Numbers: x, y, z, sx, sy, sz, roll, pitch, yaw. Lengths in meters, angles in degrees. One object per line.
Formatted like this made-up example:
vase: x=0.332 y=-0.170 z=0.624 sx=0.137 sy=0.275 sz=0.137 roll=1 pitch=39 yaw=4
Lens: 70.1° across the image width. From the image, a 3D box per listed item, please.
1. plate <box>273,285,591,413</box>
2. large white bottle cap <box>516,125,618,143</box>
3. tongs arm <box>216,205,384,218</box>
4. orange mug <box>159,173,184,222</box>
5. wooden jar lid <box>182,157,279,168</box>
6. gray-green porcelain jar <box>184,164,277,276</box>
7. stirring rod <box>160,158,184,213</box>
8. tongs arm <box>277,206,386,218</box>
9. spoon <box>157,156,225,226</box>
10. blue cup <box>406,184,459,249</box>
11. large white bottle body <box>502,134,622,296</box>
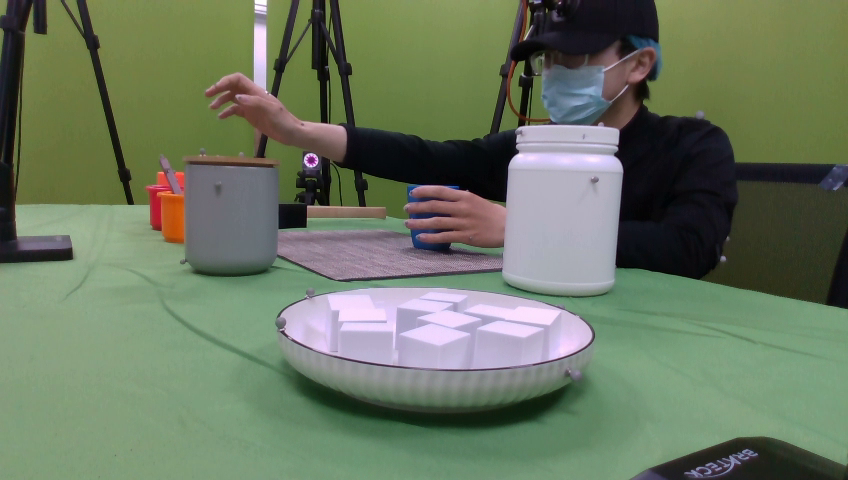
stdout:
plate: x=0.004 y=0.069 z=0.408 sx=0.208 sy=0.039 sz=0.207 roll=2 pitch=7 yaw=0
large white bottle cap: x=0.163 y=-0.120 z=0.695 sx=0.115 sy=0.018 sz=0.115 roll=2 pitch=8 yaw=0
tongs arm: x=-0.288 y=-0.068 z=1.435 sx=0.389 sy=0.027 sz=0.028 roll=0 pitch=-1 yaw=-17
orange mug: x=-0.477 y=-0.089 z=1.241 sx=0.127 sy=0.101 sz=0.083 roll=-8 pitch=12 yaw=-33
wooden jar lid: x=-0.227 y=-0.086 z=0.714 sx=0.108 sy=0.020 sz=0.108 roll=1 pitch=6 yaw=0
gray-green porcelain jar: x=-0.230 y=-0.025 z=0.722 sx=0.106 sy=0.126 sz=0.106 roll=3 pitch=7 yaw=0
stirring rod: x=-0.391 y=-0.070 z=0.972 sx=0.014 sy=0.006 sz=0.175 roll=-1 pitch=50 yaw=-49
tongs arm: x=-0.251 y=-0.063 z=1.360 sx=0.387 sy=0.026 sz=0.050 roll=-1 pitch=3 yaw=-31
spoon: x=-0.425 y=-0.094 z=1.117 sx=0.041 sy=0.022 sz=0.194 roll=5 pitch=51 yaw=29
blue cup: x=0.013 y=-0.038 z=0.971 sx=0.093 sy=0.100 sz=0.092 roll=1 pitch=6 yaw=0
large white bottle body: x=0.160 y=-0.037 z=0.706 sx=0.131 sy=0.184 sz=0.130 roll=2 pitch=7 yaw=0
